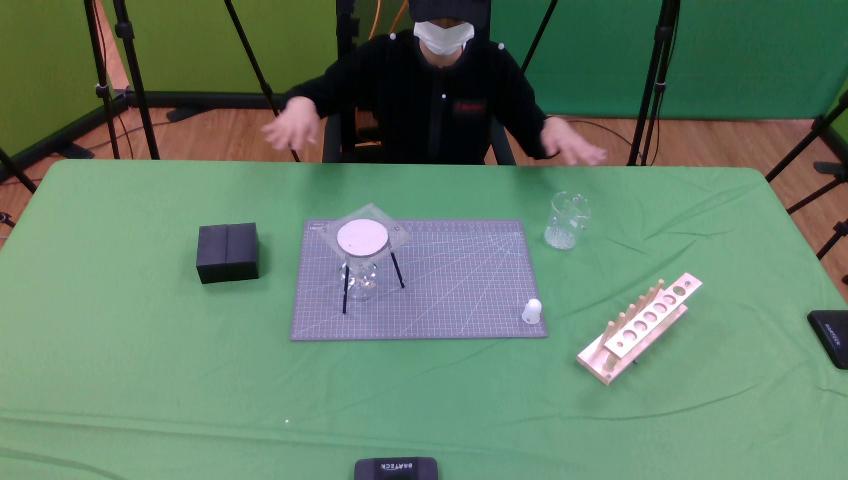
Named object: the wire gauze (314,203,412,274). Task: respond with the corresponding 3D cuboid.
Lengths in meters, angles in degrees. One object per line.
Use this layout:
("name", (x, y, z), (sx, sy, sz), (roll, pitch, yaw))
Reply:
("wire gauze", (-0.103, -0.009, 1.023), (0.121, 0.011, 0.124), (-29, 53, -27))

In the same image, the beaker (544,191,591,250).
("beaker", (0.282, -0.035, 1.199), (0.083, 0.101, 0.074), (31, 52, 23))

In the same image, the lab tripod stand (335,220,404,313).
("lab tripod stand", (-0.110, 0.039, 1.070), (0.148, 0.132, 0.147), (1, 46, -1))

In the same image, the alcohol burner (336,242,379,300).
("alcohol burner", (-0.118, 0.050, 1.072), (0.078, 0.120, 0.077), (2, 44, -1))

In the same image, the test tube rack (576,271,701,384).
("test tube rack", (0.373, 0.138, 1.047), (0.242, 0.085, 0.066), (-31, 56, -29))

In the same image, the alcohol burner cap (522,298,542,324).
("alcohol burner cap", (0.193, 0.124, 1.074), (0.034, 0.048, 0.033), (1, 46, -1))
